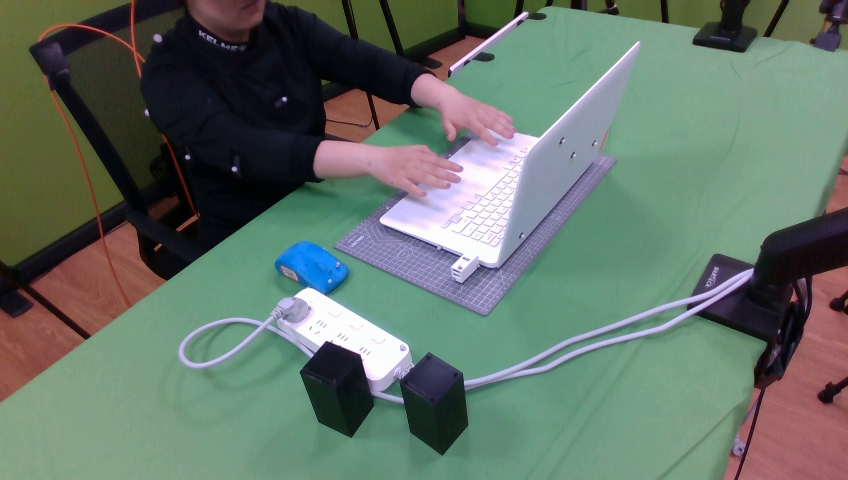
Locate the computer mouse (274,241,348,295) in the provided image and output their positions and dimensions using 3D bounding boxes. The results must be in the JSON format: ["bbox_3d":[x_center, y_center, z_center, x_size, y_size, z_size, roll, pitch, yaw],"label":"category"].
[{"bbox_3d":[-0.175,0.040,0.936,0.116,0.041,0.063,27,48,27],"label":"computer mouse"}]

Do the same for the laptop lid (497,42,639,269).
[{"bbox_3d":[0.221,-0.130,0.912,0.013,0.242,0.357,31,51,21],"label":"laptop lid"}]

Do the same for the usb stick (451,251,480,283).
[{"bbox_3d":[0.066,0.036,0.899,0.021,0.027,0.059,23,45,33],"label":"usb stick"}]

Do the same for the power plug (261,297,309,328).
[{"bbox_3d":[-0.192,0.107,0.831,0.073,0.053,0.035,-32,43,-25],"label":"power plug"}]

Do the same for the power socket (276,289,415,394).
[{"bbox_3d":[-0.113,0.133,0.820,0.225,0.033,0.072,25,49,33],"label":"power socket"}]

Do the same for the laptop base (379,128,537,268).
[{"bbox_3d":[0.118,-0.088,1.058,0.233,0.023,0.355,19,47,32],"label":"laptop base"}]
